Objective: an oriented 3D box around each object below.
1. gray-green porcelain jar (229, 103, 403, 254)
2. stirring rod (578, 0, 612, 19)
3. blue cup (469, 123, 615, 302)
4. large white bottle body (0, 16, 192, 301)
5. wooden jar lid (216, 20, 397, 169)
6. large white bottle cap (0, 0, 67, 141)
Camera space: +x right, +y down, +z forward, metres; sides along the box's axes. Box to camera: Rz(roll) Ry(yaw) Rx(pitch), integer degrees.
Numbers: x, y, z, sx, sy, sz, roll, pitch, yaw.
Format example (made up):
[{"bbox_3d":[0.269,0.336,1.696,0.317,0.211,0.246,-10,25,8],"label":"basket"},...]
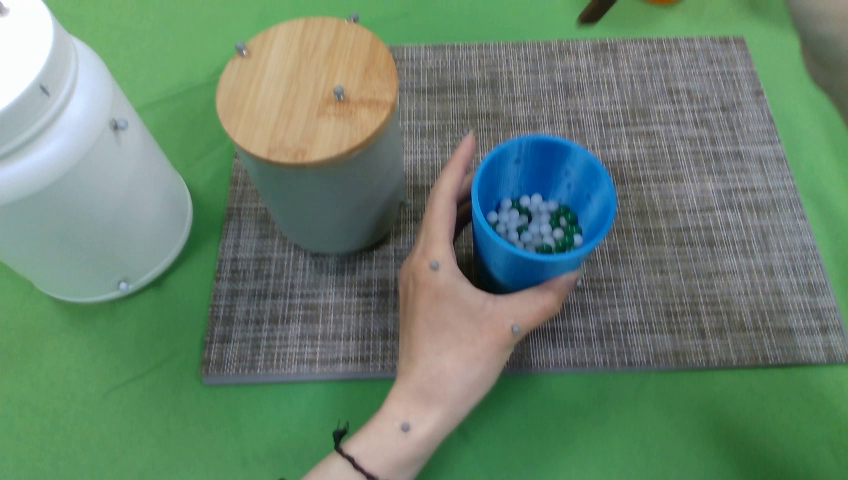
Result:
[{"bbox_3d":[-0.069,-0.057,0.422,0.106,0.127,0.105,-1,63,1],"label":"gray-green porcelain jar"},{"bbox_3d":[0.122,-0.159,0.272,0.014,0.176,0.006,-13,75,-24],"label":"stirring rod"},{"bbox_3d":[0.068,-0.005,0.396,0.093,0.101,0.092,1,63,-1],"label":"blue cup"},{"bbox_3d":[-0.247,-0.051,0.394,0.130,0.186,0.129,0,62,1],"label":"large white bottle body"},{"bbox_3d":[-0.070,-0.086,0.367,0.108,0.021,0.107,-2,64,4],"label":"wooden jar lid"},{"bbox_3d":[-0.250,-0.091,0.318,0.115,0.018,0.114,0,63,1],"label":"large white bottle cap"}]
